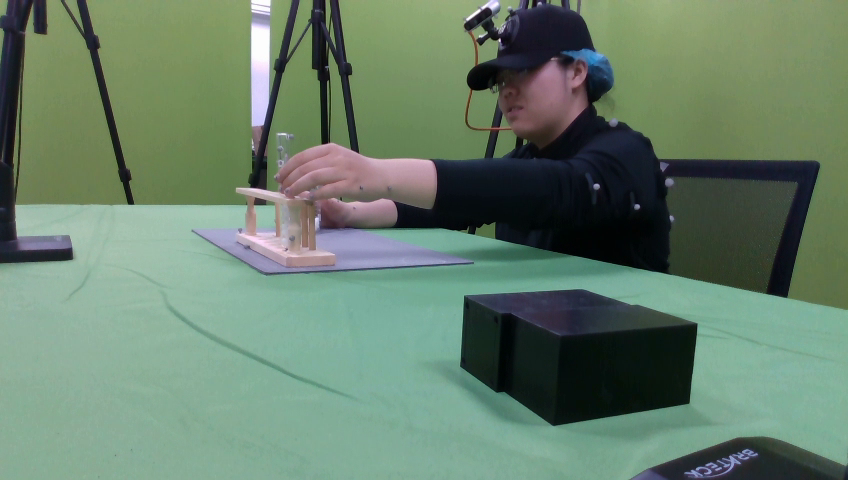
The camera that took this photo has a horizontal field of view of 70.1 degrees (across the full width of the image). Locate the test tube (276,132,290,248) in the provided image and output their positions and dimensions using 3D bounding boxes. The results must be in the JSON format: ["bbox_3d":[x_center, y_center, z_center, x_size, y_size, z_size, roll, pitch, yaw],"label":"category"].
[{"bbox_3d":[-0.181,-0.063,0.778,0.017,0.150,0.017,0,9,0],"label":"test tube"}]

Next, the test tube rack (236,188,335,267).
[{"bbox_3d":[-0.203,-0.024,0.855,0.067,0.085,0.241,-3,9,-31],"label":"test tube rack"}]

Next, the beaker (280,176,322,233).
[{"bbox_3d":[-0.225,-0.065,1.111,0.074,0.100,0.083,-2,10,-30],"label":"beaker"}]
